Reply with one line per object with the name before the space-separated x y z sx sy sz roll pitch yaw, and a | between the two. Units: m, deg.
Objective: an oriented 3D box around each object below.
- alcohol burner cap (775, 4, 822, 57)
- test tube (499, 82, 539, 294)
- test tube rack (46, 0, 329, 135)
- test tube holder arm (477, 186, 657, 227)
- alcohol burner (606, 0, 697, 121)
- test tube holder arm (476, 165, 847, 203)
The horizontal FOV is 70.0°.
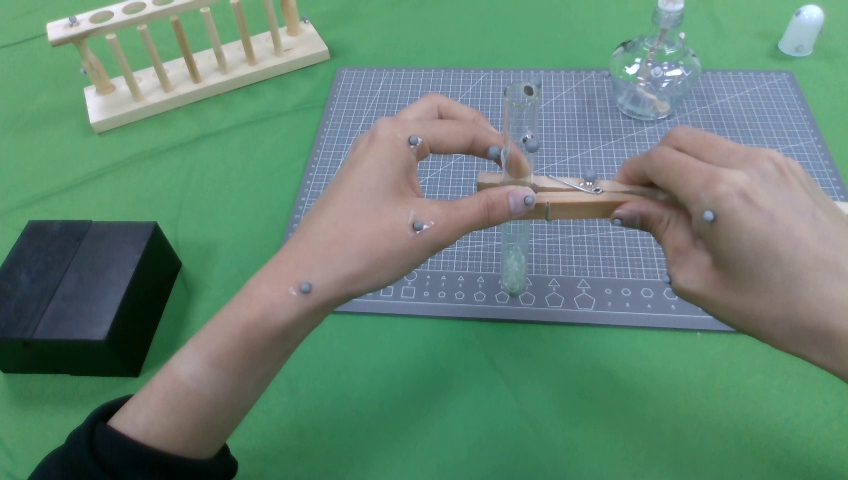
alcohol burner cap | 0.373 -0.209 0.599 0.034 0.048 0.033 -3 50 4
test tube | 0.047 -0.017 0.314 0.017 0.151 0.017 -3 52 4
test tube rack | -0.227 -0.195 0.604 0.242 0.086 0.066 -23 52 -14
test tube holder arm | 0.071 -0.018 0.307 0.088 0.015 0.010 -7 74 5
alcohol burner | 0.201 -0.165 0.526 0.078 0.120 0.077 -2 49 2
test tube holder arm | 0.116 -0.027 0.303 0.178 0.015 0.013 -4 75 6
